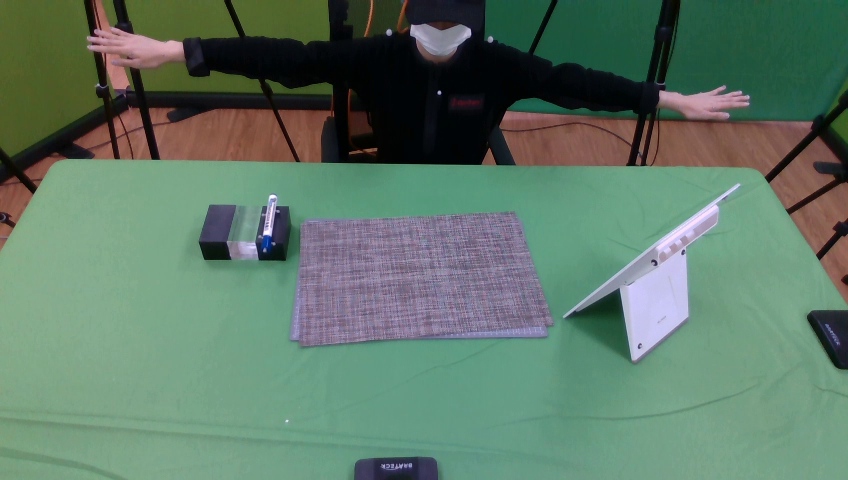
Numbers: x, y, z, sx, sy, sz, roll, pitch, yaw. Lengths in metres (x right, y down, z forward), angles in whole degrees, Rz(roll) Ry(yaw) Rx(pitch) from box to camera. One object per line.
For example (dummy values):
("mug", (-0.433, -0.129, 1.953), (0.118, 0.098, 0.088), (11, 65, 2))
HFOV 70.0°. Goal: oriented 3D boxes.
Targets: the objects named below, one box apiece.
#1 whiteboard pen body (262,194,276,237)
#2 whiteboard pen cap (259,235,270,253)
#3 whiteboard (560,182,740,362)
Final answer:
("whiteboard pen body", (-0.294, -0.038, 1.145), (0.017, 0.017, 0.140), (-1, 46, -5))
("whiteboard pen cap", (-0.289, 0.005, 1.103), (0.018, 0.018, 0.033), (0, 48, -5))
("whiteboard", (0.406, 0.075, 1.001), (0.217, 0.306, 0.143), (-28, 73, -28))
